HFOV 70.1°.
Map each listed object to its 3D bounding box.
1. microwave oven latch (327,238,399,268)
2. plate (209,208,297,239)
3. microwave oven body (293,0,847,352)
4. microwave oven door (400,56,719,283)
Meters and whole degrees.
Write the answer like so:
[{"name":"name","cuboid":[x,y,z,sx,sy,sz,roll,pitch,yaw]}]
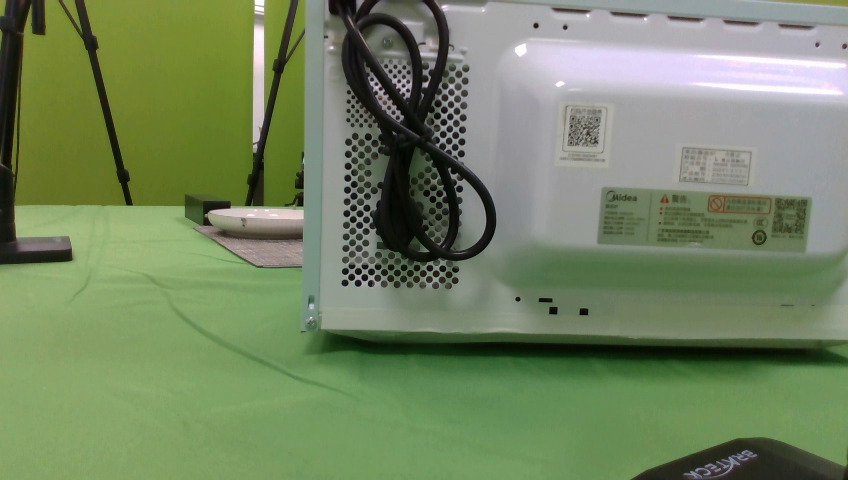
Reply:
[{"name":"microwave oven latch","cuboid":[-0.069,0.015,0.694,0.079,0.029,0.030,3,7,-3]},{"name":"plate","cuboid":[-0.271,-0.029,1.074,0.208,0.039,0.207,3,7,0]},{"name":"microwave oven body","cuboid":[0.122,-0.055,0.550,0.442,0.260,0.325,3,7,-5]},{"name":"microwave oven door","cuboid":[0.155,-0.077,0.698,0.356,0.243,0.039,2,8,-5]}]
